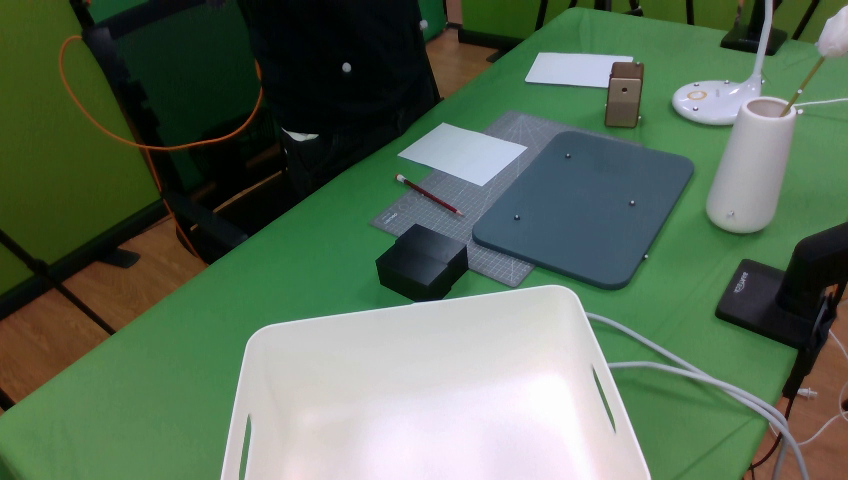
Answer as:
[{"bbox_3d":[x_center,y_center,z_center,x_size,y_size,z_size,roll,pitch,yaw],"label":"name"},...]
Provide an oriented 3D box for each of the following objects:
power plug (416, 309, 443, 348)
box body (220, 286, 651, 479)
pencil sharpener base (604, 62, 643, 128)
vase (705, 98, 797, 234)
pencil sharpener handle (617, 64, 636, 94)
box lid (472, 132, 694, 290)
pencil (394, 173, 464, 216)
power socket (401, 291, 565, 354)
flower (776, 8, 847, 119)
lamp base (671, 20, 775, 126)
[{"bbox_3d":[0.005,0.121,0.786,0.035,0.053,0.072,3,46,8],"label":"power plug"},{"bbox_3d":[0.006,0.210,0.618,0.364,0.161,0.252,-8,40,-1],"label":"box body"},{"bbox_3d":[0.391,-0.284,1.182,0.061,0.107,0.076,7,42,17],"label":"pencil sharpener base"},{"bbox_3d":[0.480,-0.104,0.888,0.098,0.201,0.097,-4,42,4],"label":"vase"},{"bbox_3d":[0.401,-0.326,1.211,0.036,0.068,0.030,16,44,8],"label":"pencil sharpener handle"},{"bbox_3d":[0.273,-0.068,1.020,0.261,0.015,0.372,20,47,28],"label":"box lid"},{"bbox_3d":[0.006,-0.082,1.071,0.012,0.012,0.192,-32,44,-26],"label":"pencil"},{"bbox_3d":[0.080,0.112,0.823,0.227,0.033,0.072,-5,41,1],"label":"power socket"},{"bbox_3d":[0.476,-0.156,0.822,0.038,0.362,0.044,9,58,2],"label":"flower"},{"bbox_3d":[0.582,-0.332,1.153,0.179,0.181,0.160,2,41,7],"label":"lamp base"}]
